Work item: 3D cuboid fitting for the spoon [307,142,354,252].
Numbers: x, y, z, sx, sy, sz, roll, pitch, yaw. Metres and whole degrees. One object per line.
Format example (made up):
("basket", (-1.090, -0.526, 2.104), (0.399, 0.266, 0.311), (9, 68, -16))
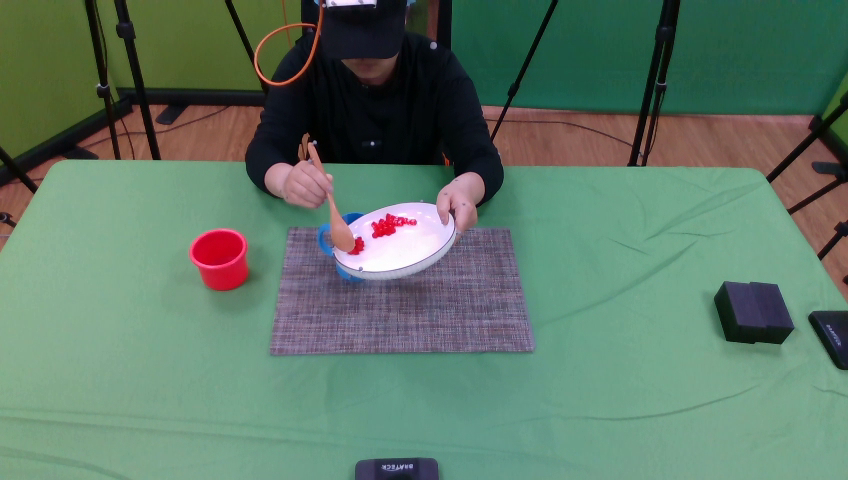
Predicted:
("spoon", (-0.158, -0.071, 0.998), (0.022, 0.041, 0.193), (-3, 72, -61))

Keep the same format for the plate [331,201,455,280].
("plate", (-0.048, 0.004, 0.999), (0.207, 0.039, 0.206), (-10, 32, 7))

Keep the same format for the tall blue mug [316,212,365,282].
("tall blue mug", (-0.141, 0.014, 1.109), (0.107, 0.108, 0.077), (-4, 48, -9))
